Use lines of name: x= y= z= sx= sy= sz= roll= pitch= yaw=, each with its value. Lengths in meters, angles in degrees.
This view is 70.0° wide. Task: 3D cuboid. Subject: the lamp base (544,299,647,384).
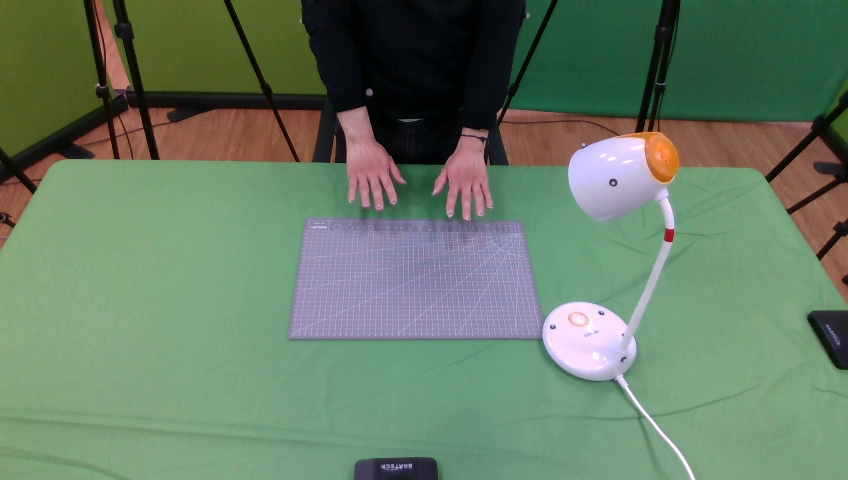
lamp base: x=0.299 y=0.124 z=0.984 sx=0.161 sy=0.181 sz=0.178 roll=-23 pitch=55 yaw=-23

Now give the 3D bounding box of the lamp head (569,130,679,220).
lamp head: x=0.272 y=-0.090 z=0.798 sx=0.113 sy=0.122 sz=0.112 roll=7 pitch=78 yaw=-33
